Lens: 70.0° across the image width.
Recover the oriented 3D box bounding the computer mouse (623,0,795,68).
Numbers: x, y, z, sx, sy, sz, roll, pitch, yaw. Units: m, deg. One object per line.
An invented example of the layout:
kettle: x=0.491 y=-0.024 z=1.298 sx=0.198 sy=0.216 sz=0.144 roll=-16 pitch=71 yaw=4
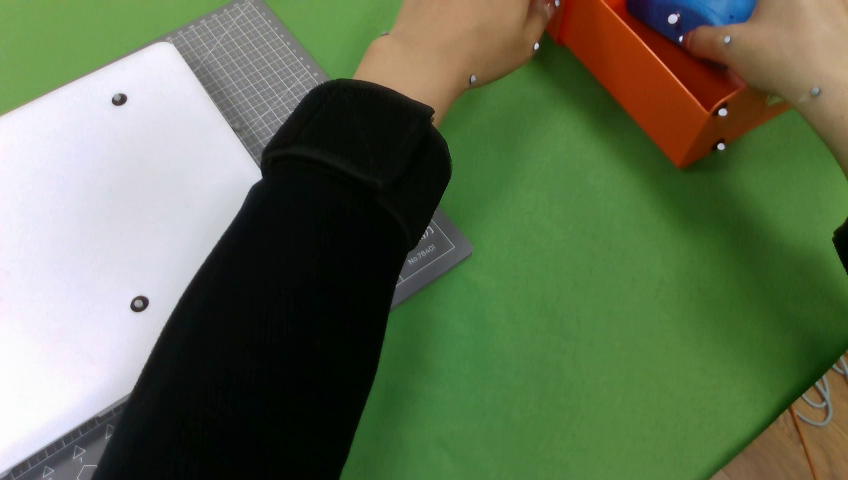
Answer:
computer mouse: x=0.198 y=-0.168 z=0.430 sx=0.063 sy=0.041 sz=0.116 roll=-27 pitch=47 yaw=-8

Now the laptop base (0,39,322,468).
laptop base: x=-0.269 y=0.024 z=0.379 sx=0.354 sy=0.023 sz=0.234 roll=-32 pitch=70 yaw=-14

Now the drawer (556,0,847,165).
drawer: x=0.202 y=-0.183 z=0.437 sx=0.194 sy=0.074 sz=0.210 roll=-28 pitch=65 yaw=-10

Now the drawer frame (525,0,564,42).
drawer frame: x=0.139 y=-0.285 z=0.487 sx=0.202 sy=0.083 sz=0.211 roll=-26 pitch=65 yaw=-10

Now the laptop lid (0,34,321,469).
laptop lid: x=-0.269 y=0.021 z=0.367 sx=0.357 sy=0.013 sz=0.239 roll=-31 pitch=69 yaw=-13
